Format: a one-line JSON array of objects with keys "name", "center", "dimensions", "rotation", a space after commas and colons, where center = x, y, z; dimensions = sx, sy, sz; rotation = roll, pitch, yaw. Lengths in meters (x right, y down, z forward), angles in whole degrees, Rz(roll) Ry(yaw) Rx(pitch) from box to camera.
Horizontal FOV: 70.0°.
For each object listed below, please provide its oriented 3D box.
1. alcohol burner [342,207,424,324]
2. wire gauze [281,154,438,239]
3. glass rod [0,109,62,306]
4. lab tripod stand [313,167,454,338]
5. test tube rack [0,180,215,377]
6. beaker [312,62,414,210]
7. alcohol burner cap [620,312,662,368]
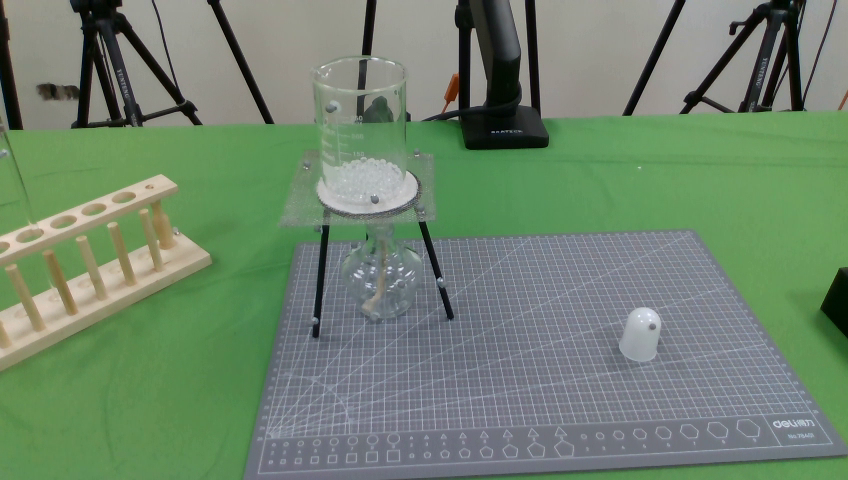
[{"name": "alcohol burner", "center": [-0.038, 0.019, 0.559], "dimensions": [0.078, 0.120, 0.077], "rotation": [1, 37, 0]}, {"name": "wire gauze", "center": [-0.050, -0.041, 0.512], "dimensions": [0.121, 0.011, 0.124], "rotation": [0, 37, 0]}, {"name": "glass rod", "center": [-0.352, -0.026, 0.539], "dimensions": [0.008, 0.201, 0.008], "rotation": [1, 28, 0]}, {"name": "lab tripod stand", "center": [-0.041, 0.011, 0.552], "dimensions": [0.148, 0.132, 0.147], "rotation": [1, 34, 0]}, {"name": "test tube rack", "center": [-0.330, 0.035, 0.568], "dimensions": [0.066, 0.086, 0.242], "rotation": [28, 44, 34]}, {"name": "beaker", "center": [-0.050, -0.082, 0.485], "dimensions": [0.083, 0.101, 0.074], "rotation": [22, 40, 26]}, {"name": "alcohol burner cap", "center": [0.191, 0.084, 0.527], "dimensions": [0.034, 0.048, 0.033], "rotation": [0, 36, 1]}]
